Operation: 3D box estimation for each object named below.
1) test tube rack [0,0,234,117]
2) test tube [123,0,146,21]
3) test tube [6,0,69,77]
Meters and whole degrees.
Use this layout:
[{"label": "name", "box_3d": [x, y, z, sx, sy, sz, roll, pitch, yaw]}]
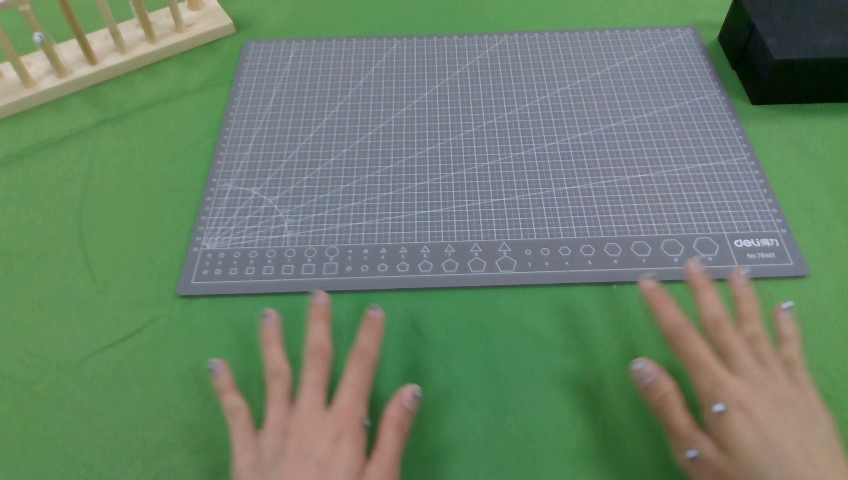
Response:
[{"label": "test tube rack", "box_3d": [-0.314, -0.205, 0.563, 0.242, 0.086, 0.066, -28, 57, -18]}, {"label": "test tube", "box_3d": [-0.285, -0.267, 0.546, 0.017, 0.151, 0.017, 0, 52, 1]}, {"label": "test tube", "box_3d": [-0.341, -0.201, 0.506, 0.017, 0.152, 0.017, -1, 53, 1]}]
